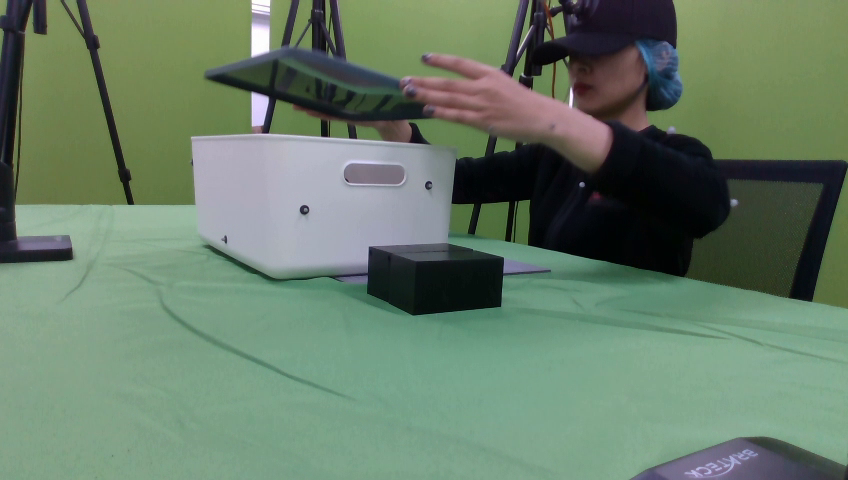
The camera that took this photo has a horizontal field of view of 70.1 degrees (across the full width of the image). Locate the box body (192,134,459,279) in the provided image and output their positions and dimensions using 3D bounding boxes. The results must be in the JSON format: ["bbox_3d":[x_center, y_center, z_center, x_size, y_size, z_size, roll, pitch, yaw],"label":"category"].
[{"bbox_3d":[-0.154,-0.059,0.840,0.255,0.160,0.362,-2,9,-33],"label":"box body"}]

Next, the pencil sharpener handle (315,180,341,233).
[{"bbox_3d":[-0.119,-0.043,0.787,0.036,0.067,0.030,-4,9,-30],"label":"pencil sharpener handle"}]

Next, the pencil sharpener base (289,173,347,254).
[{"bbox_3d":[-0.146,-0.037,0.832,0.061,0.107,0.076,-2,8,-30],"label":"pencil sharpener base"}]

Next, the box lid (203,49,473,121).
[{"bbox_3d":[-0.132,-0.201,0.835,0.265,0.015,0.369,8,4,-35],"label":"box lid"}]
